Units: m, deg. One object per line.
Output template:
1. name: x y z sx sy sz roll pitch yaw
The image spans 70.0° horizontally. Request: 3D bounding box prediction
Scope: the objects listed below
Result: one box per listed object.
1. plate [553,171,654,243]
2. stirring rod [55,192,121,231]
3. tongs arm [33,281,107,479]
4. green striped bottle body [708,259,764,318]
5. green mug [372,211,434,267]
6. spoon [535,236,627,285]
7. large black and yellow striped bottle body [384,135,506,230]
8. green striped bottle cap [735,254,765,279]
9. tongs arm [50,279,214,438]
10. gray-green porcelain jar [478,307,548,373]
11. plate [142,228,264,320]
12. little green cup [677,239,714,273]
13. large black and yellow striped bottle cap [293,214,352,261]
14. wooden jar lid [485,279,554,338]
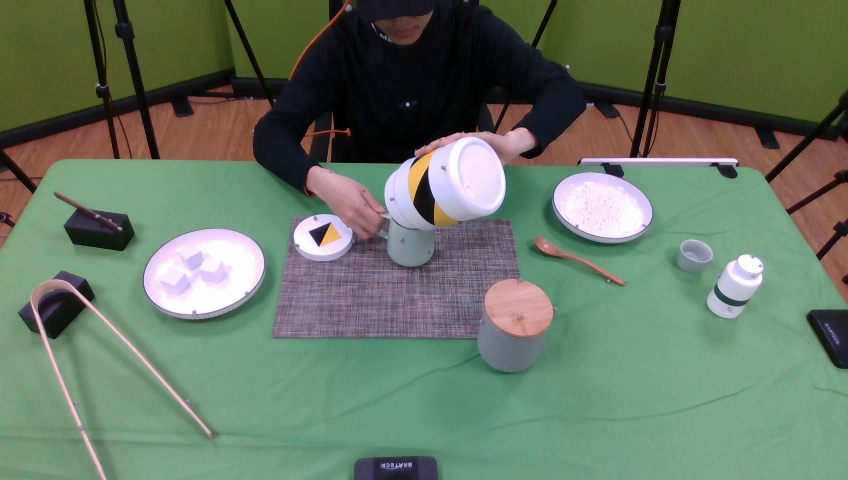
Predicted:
1. plate: 0.374 -0.066 1.275 0.209 0.038 0.208 2 46 -2
2. stirring rod: -0.632 -0.055 1.138 0.175 0.014 0.006 24 50 19
3. tongs arm: -0.517 0.214 0.909 0.051 0.026 0.383 -29 63 -27
4. green striped bottle body: 0.563 0.081 1.089 0.063 0.120 0.063 2 46 -2
5. green mug: -0.040 -0.015 1.145 0.125 0.105 0.092 16 47 11
6. spoon: 0.304 0.040 1.178 0.193 0.022 0.041 25 35 20
7. large black and yellow striped bottle body: 0.030 -0.089 1.020 0.183 0.131 0.130 -14 27 46
8. green striped bottle cap: 0.566 0.046 1.051 0.044 0.020 0.044 0 45 0
9. tongs arm: -0.459 0.178 0.949 0.386 0.028 0.028 37 60 17
10. gray-green porcelain jar: 0.144 0.148 0.989 0.106 0.127 0.105 2 50 -2
11. plate: -0.394 0.064 1.095 0.208 0.039 0.206 2 46 -2
12. little green cup: 0.530 0.033 1.189 0.061 0.039 0.061 2 47 -2
13. large black and yellow striped bottle cap: -0.198 -0.007 1.187 0.115 0.019 0.114 3 47 -3
14. wooden jar lid: 0.147 0.108 0.940 0.108 0.021 0.107 4 47 -4
